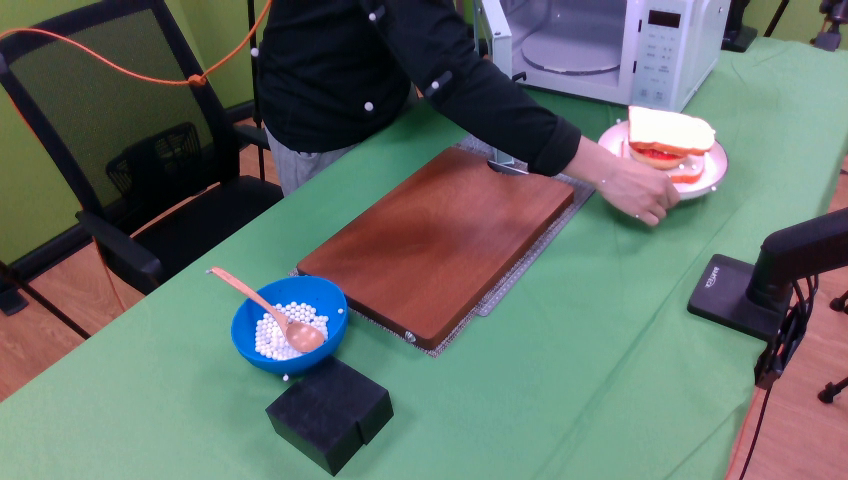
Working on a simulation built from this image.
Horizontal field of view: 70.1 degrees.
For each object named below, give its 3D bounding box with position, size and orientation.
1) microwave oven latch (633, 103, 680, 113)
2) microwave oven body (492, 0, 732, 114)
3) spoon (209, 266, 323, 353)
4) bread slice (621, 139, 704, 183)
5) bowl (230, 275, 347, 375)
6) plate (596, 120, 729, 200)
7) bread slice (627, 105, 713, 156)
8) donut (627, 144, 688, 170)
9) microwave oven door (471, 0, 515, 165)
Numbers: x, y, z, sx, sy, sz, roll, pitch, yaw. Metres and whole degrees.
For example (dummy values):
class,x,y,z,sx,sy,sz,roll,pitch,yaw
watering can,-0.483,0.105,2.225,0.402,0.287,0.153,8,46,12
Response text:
class,x,y,z,sx,sy,sz,roll,pitch,yaw
microwave oven latch,0.443,-0.249,1.157,0.078,0.029,0.030,21,49,30
microwave oven body,0.377,-0.463,1.267,0.438,0.261,0.327,21,49,30
spoon,-0.213,0.088,0.806,0.193,0.021,0.042,37,55,11
bread slice,0.397,-0.133,1.013,0.131,0.019,0.104,3,47,15
bowl,-0.171,0.125,0.801,0.151,0.077,0.150,-4,40,4
plate,0.391,-0.132,1.006,0.208,0.039,0.206,-2,45,2
bread slice,0.390,-0.174,0.967,0.134,0.018,0.106,9,45,5
donut,0.383,-0.154,0.989,0.099,0.048,0.098,-4,48,5
microwave oven door,0.127,-0.341,1.153,0.039,0.245,0.354,-7,40,2
